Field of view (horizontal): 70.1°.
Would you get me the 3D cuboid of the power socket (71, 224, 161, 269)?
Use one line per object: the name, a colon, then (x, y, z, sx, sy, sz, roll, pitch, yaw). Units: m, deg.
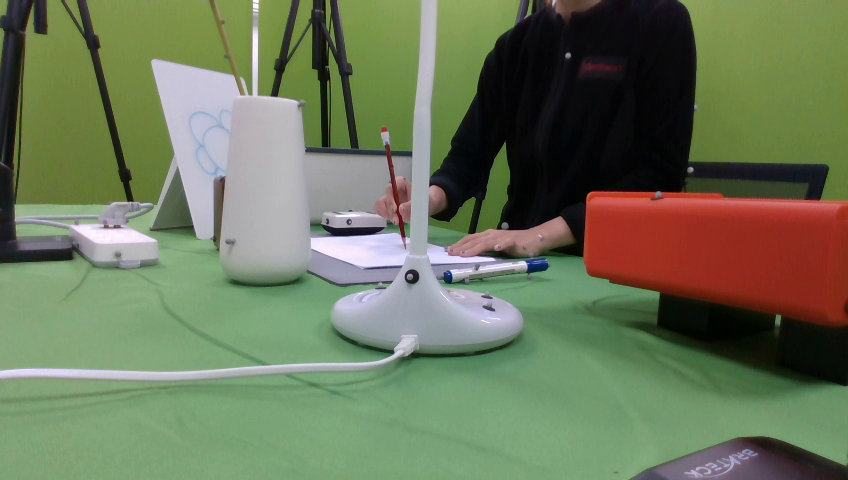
power socket: (-0.408, 0.004, 0.793, 0.072, 0.032, 0.225, -2, 8, -38)

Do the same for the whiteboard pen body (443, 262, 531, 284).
whiteboard pen body: (0.087, 0.038, 0.734, 0.141, 0.017, 0.017, -5, 10, -27)

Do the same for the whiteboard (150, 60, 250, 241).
whiteboard: (-0.408, -0.139, 1.093, 0.143, 0.305, 0.218, -15, -1, 26)

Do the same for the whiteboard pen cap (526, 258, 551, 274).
whiteboard pen cap: (0.141, 0.033, 0.759, 0.033, 0.018, 0.018, -7, 11, -26)

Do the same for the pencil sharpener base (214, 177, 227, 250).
pencil sharpener base: (-0.265, -0.036, 0.870, 0.061, 0.107, 0.076, -2, 8, -29)

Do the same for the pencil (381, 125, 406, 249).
pencil: (-0.046, -0.082, 0.936, 0.012, 0.194, 0.012, -10, 2, 1)

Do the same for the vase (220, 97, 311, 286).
vase: (-0.172, -0.052, 0.662, 0.098, 0.200, 0.098, 3, 8, 0)

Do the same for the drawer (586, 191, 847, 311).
drawer: (0.281, 0.001, 0.512, 0.195, 0.073, 0.210, 0, 7, -29)

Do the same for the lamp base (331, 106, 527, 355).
lamp base: (0.006, -0.012, 0.478, 0.161, 0.180, 0.179, 2, 10, 2)

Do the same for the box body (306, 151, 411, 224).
box body: (-0.230, -0.126, 1.371, 0.366, 0.160, 0.253, -2, 8, -33)

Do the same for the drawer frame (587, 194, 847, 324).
drawer frame: (0.286, 0.004, 0.508, 0.203, 0.082, 0.212, -1, 6, -29)

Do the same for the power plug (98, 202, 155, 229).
power plug: (-0.416, -0.027, 0.848, 0.073, 0.052, 0.035, 0, 8, -28)

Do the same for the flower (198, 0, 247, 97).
flower: (-0.187, -0.133, 0.648, 0.038, 0.362, 0.044, -1, 22, 43)

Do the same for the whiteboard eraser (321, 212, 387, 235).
whiteboard eraser: (-0.128, -0.031, 1.108, 0.113, 0.042, 0.055, -3, 7, -38)

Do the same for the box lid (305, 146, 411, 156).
box lid: (-0.229, -0.200, 1.360, 0.373, 0.015, 0.262, -3, 9, -33)

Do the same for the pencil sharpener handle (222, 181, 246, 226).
pencil sharpener handle: (-0.289, -0.055, 0.912, 0.036, 0.067, 0.030, -3, 9, -29)
